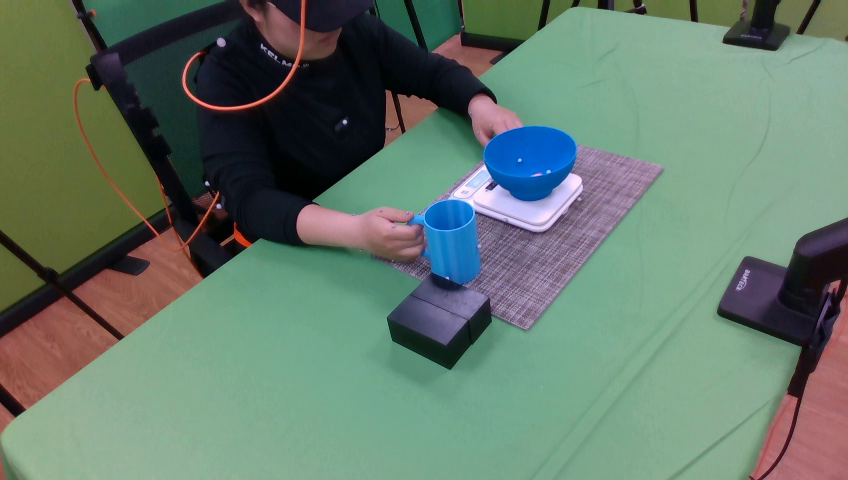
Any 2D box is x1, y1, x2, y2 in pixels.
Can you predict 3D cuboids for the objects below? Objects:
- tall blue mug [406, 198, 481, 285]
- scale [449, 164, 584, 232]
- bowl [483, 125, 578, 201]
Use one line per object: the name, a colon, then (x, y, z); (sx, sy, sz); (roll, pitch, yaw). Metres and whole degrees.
tall blue mug: (0.028, 0.005, 0.897); (0.107, 0.108, 0.077); (-8, 41, 2)
scale: (0.156, -0.085, 1.040); (0.199, 0.032, 0.149); (22, 49, 32)
bowl: (0.175, -0.117, 0.991); (0.151, 0.077, 0.150); (-6, 41, 5)
